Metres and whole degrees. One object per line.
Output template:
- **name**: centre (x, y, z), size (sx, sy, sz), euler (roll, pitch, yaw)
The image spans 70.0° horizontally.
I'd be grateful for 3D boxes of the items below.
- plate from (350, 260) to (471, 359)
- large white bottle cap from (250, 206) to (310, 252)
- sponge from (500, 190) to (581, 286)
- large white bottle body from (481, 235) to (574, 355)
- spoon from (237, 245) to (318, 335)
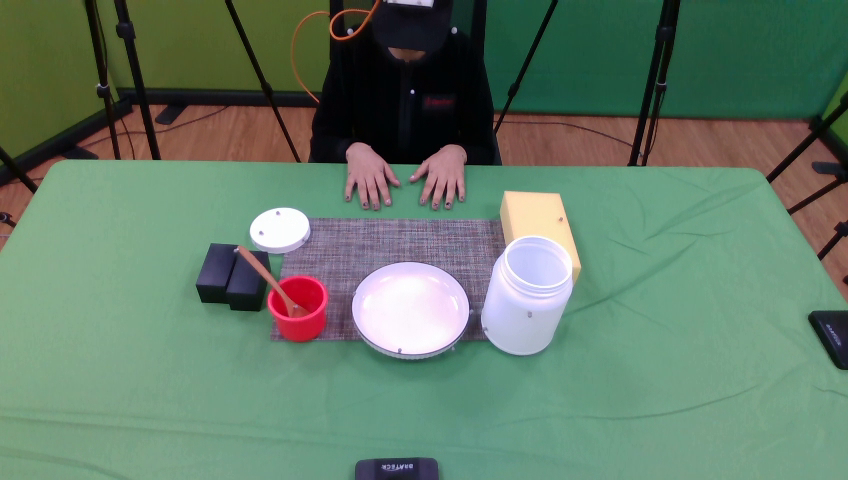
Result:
- **plate**: centre (-0.024, 0.124, 1.062), size (0.209, 0.038, 0.208), euler (2, 46, -2)
- **large white bottle cap**: centre (-0.284, -0.022, 1.198), size (0.115, 0.018, 0.114), euler (1, 46, -1)
- **sponge**: centre (0.223, -0.007, 1.192), size (0.118, 0.061, 0.205), euler (1, 47, -6)
- **large white bottle body**: centre (0.171, 0.091, 1.006), size (0.131, 0.185, 0.130), euler (3, 48, -3)
- **spoon**: centre (-0.244, 0.082, 1.010), size (0.041, 0.021, 0.194), euler (-46, 108, -36)
